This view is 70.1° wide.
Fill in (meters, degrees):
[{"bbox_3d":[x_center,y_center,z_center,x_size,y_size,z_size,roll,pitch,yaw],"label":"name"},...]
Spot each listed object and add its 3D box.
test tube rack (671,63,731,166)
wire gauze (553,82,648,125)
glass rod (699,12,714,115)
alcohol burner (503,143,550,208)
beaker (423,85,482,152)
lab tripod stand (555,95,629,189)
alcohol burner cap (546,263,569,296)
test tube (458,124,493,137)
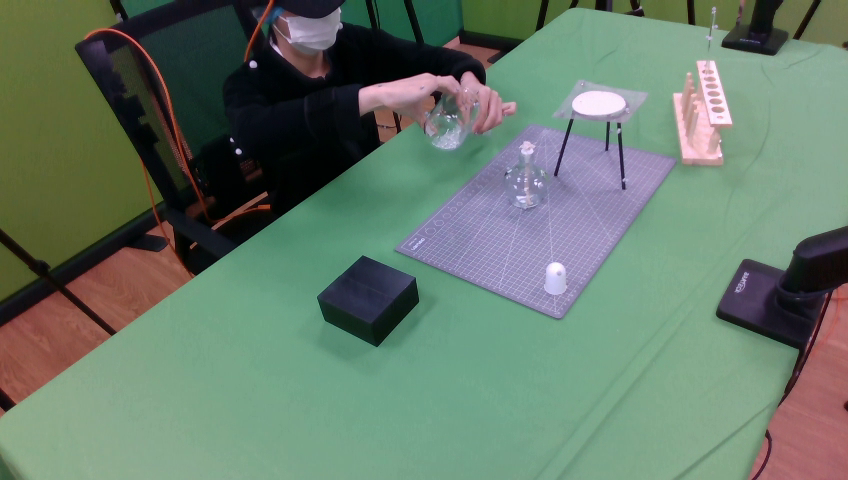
[{"bbox_3d":[0.513,-0.241,1.132,0.066,0.085,0.242,4,41,14],"label":"test tube rack"},{"bbox_3d":[0.293,-0.225,1.002,0.120,0.011,0.125,17,45,27],"label":"wire gauze"},{"bbox_3d":[0.525,-0.323,1.124,0.008,0.201,0.008,-8,38,6],"label":"glass rod"},{"bbox_3d":[0.171,-0.112,1.006,0.078,0.119,0.077,-3,41,3],"label":"alcohol burner"},{"bbox_3d":[0.046,-0.193,0.985,0.073,0.084,0.100,3,38,22],"label":"beaker"},{"bbox_3d":[0.300,-0.174,1.045,0.148,0.132,0.147,-5,38,5],"label":"lab tripod stand"},{"bbox_3d":[0.191,0.053,0.862,0.034,0.048,0.033,-5,40,4],"label":"alcohol burner cap"},{"bbox_3d":[0.097,-0.200,1.108,0.017,0.017,0.151,13,11,23],"label":"test tube"}]
